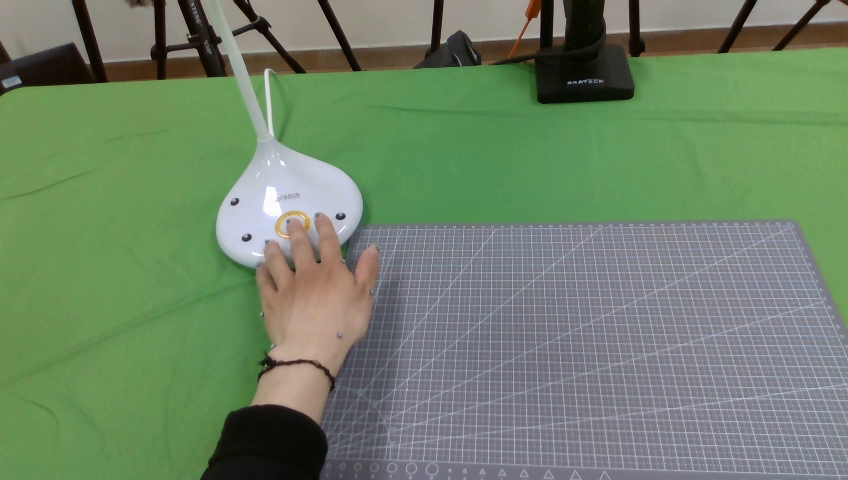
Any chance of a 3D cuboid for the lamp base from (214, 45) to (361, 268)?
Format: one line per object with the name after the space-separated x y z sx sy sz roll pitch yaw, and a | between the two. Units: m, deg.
-0.162 -0.091 0.615 0.161 0.182 0.177 -23 45 -13 | lamp base
